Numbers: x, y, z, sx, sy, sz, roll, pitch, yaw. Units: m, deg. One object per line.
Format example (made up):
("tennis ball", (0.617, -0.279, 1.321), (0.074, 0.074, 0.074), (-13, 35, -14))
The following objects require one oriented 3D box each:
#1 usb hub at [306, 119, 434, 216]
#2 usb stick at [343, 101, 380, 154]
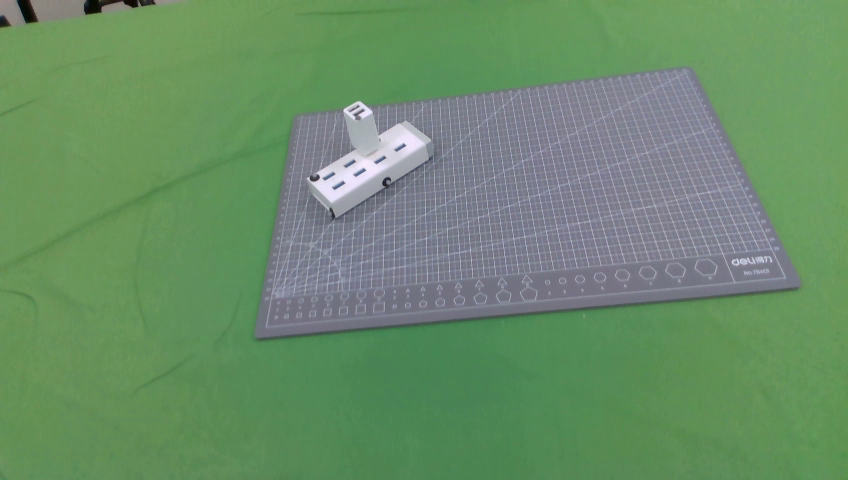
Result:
("usb hub", (-0.054, -0.075, 0.613), (0.125, 0.025, 0.049), (-34, 53, -18))
("usb stick", (-0.060, -0.106, 0.601), (0.021, 0.060, 0.027), (-36, 52, -19))
